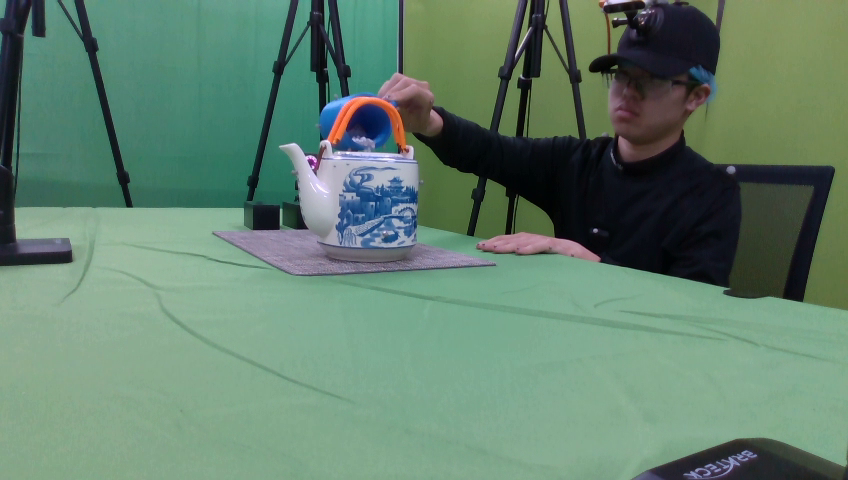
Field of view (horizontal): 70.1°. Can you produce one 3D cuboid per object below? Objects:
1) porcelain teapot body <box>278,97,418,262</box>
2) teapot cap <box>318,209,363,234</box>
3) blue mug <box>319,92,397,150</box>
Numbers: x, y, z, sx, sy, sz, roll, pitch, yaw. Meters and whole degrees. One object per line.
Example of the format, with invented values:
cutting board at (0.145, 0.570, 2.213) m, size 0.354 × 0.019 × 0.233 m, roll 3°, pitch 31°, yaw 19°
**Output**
porcelain teapot body at (-0.103, -0.086, 0.842) m, size 0.206 × 0.225 × 0.144 m, roll -4°, pitch 9°, yaw -38°
teapot cap at (-0.158, -0.036, 1.144) m, size 0.085 × 0.044 × 0.085 m, roll 0°, pitch 6°, yaw 0°
blue mug at (-0.094, -0.189, 0.930) m, size 0.117 × 0.082 × 0.105 m, roll -35°, pitch 21°, yaw -19°
